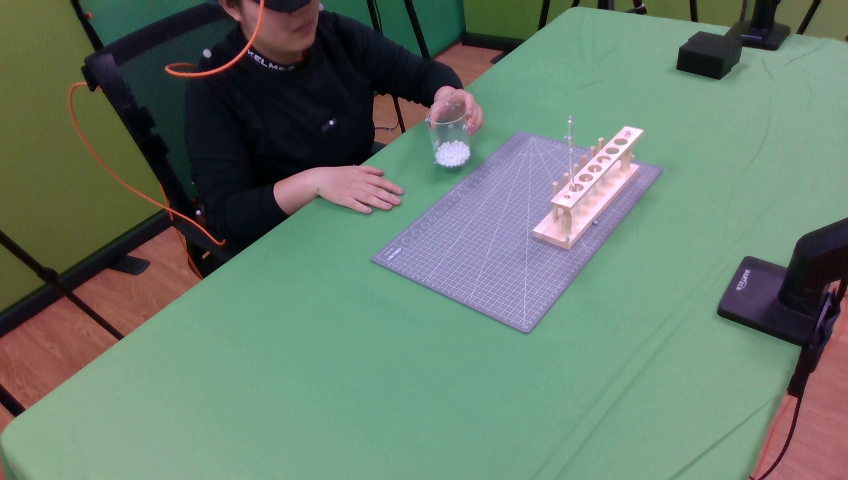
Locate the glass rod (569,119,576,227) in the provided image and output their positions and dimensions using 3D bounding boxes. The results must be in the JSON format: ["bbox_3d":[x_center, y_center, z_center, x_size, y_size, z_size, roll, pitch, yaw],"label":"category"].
[{"bbox_3d":[0.219,-0.093,0.894,0.008,0.201,0.008,-8,43,8],"label":"glass rod"}]

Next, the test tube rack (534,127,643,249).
[{"bbox_3d":[0.271,-0.094,0.990,0.066,0.085,0.243,23,50,33],"label":"test tube rack"}]

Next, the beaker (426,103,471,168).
[{"bbox_3d":[0.048,-0.192,1.111,0.073,0.101,0.084,5,43,18],"label":"beaker"}]
